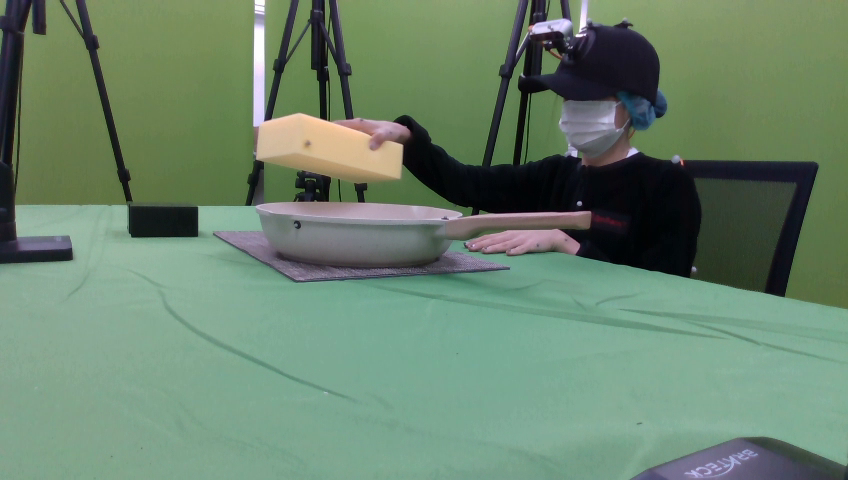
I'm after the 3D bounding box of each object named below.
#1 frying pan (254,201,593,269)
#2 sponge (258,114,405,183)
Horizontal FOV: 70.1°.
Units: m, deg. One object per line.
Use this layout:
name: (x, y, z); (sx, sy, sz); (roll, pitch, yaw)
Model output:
frying pan: (-0.011, -0.017, 0.802); (0.485, 0.102, 0.308); (-2, 4, 39)
sponge: (-0.144, -0.140, 0.970); (0.117, 0.061, 0.208); (1, -5, 43)
